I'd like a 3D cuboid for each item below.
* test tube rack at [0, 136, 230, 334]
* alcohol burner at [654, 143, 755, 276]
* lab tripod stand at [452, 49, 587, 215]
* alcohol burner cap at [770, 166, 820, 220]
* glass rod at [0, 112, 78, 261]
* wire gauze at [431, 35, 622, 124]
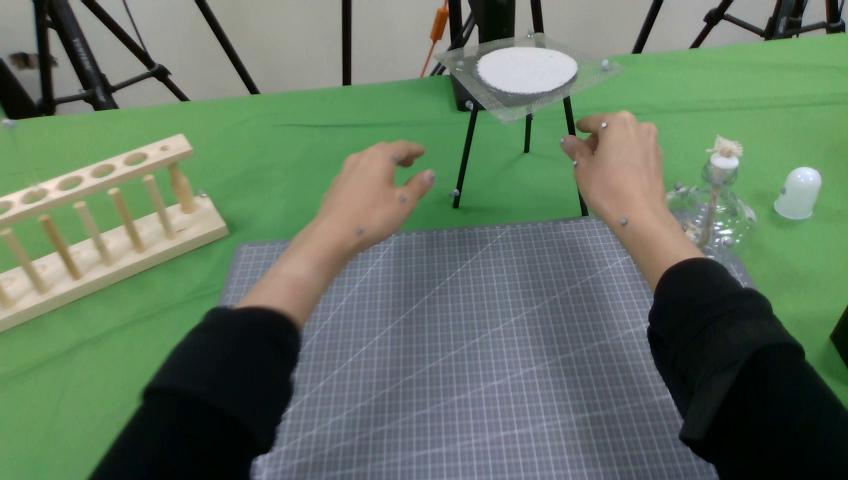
[{"bbox_3d":[-0.314,-0.003,0.548,0.242,0.086,0.066,-26,46,-21],"label":"test tube rack"},{"bbox_3d":[0.229,-0.029,0.488,0.078,0.120,0.077,-3,44,3],"label":"alcohol burner"},{"bbox_3d":[0.096,-0.100,0.573,0.148,0.133,0.147,-2,42,2],"label":"lab tripod stand"},{"bbox_3d":[0.340,-0.045,0.552,0.034,0.048,0.033,-3,41,3],"label":"alcohol burner cap"},{"bbox_3d":[-0.329,-0.052,0.504,0.008,0.201,0.008,1,42,0],"label":"glass rod"},{"bbox_3d":[0.085,-0.148,0.526,0.121,0.011,0.123,-22,45,-18],"label":"wire gauze"}]
